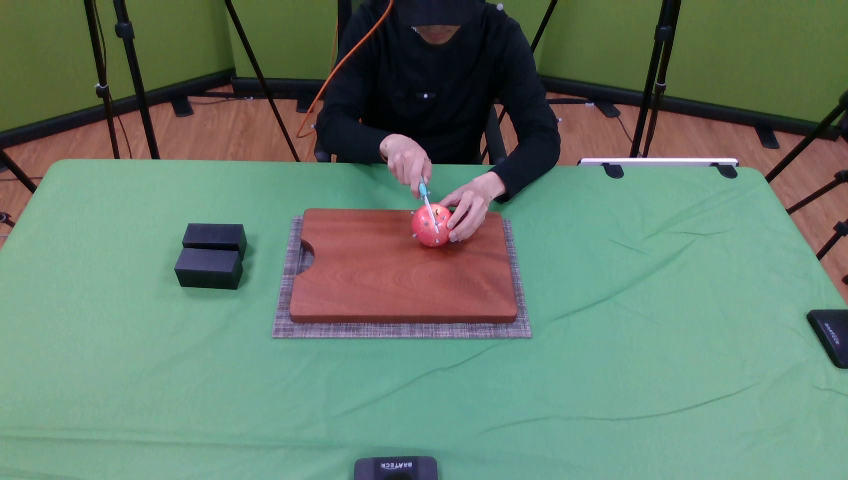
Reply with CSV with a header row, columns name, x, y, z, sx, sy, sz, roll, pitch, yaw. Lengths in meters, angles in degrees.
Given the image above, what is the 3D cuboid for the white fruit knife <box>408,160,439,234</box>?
name,x,y,z,sx,sy,sz,roll,pitch,yaw
white fruit knife,0.001,-0.084,1.136,0.016,0.027,0.206,-10,48,-12

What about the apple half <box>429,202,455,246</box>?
name,x,y,z,sx,sy,sz,roll,pitch,yaw
apple half,0.031,-0.030,1.149,0.053,0.075,0.080,-7,44,-13

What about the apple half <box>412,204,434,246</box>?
name,x,y,z,sx,sy,sz,roll,pitch,yaw
apple half,-0.007,-0.024,1.141,0.033,0.081,0.080,-7,47,-14
